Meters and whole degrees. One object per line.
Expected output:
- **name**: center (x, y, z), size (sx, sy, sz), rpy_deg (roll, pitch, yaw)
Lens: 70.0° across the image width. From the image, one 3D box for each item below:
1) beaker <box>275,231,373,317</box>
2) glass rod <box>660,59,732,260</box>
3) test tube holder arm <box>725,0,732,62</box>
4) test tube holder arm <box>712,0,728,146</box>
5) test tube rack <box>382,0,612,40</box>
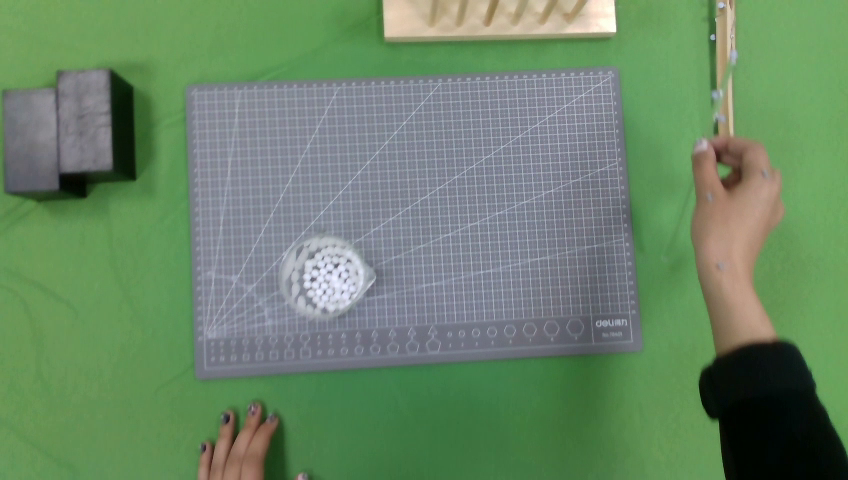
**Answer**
- **beaker**: center (-0.088, 0.033, 0.566), size (0.084, 0.100, 0.074), rpy_deg (1, 85, -3)
- **glass rod**: center (0.246, -0.065, 0.554), size (0.008, 0.008, 0.201), rpy_deg (3, 123, -2)
- **test tube holder arm**: center (0.322, -0.233, 0.650), size (0.010, 0.015, 0.087), rpy_deg (6, 85, -31)
- **test tube holder arm**: center (0.315, -0.189, 0.643), size (0.013, 0.015, 0.178), rpy_deg (5, 85, -32)
- **test tube rack**: center (0.078, -0.252, 0.606), size (0.242, 0.085, 0.066), rpy_deg (-2, 85, -3)
